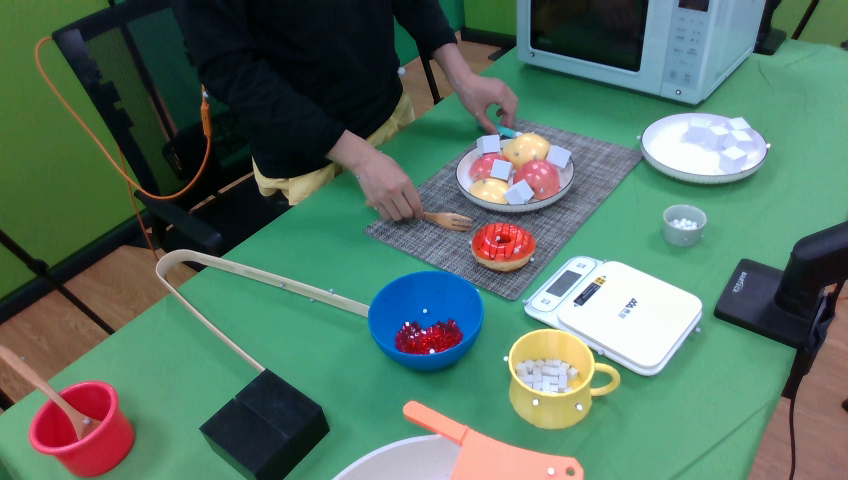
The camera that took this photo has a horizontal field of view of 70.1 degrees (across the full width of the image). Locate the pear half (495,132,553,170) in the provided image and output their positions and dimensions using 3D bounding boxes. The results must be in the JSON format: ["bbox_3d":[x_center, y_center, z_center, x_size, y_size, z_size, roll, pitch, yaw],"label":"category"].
[{"bbox_3d":[0.174,-0.168,1.094,0.109,0.056,0.076,15,53,30],"label":"pear half"}]

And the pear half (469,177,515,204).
[{"bbox_3d":[0.115,-0.090,1.036,0.087,0.031,0.071,29,39,32],"label":"pear half"}]

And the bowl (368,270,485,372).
[{"bbox_3d":[0.007,0.119,0.791,0.151,0.077,0.150,-5,40,4],"label":"bowl"}]

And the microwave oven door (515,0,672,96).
[{"bbox_3d":[0.343,-0.454,1.259,0.353,0.245,0.039,26,51,33],"label":"microwave oven door"}]

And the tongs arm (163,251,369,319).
[{"bbox_3d":[-0.247,0.073,0.917,0.382,0.026,0.051,16,49,26],"label":"tongs arm"}]

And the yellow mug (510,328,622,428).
[{"bbox_3d":[0.168,0.164,0.722,0.130,0.064,0.099,0,40,8],"label":"yellow mug"}]

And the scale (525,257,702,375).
[{"bbox_3d":[0.254,0.091,0.821,0.199,0.032,0.149,28,51,35],"label":"scale"}]

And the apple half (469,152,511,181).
[{"bbox_3d":[0.119,-0.138,1.088,0.081,0.033,0.081,-1,45,2],"label":"apple half"}]

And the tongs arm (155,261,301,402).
[{"bbox_3d":[-0.294,0.122,0.869,0.384,0.028,0.028,28,58,36],"label":"tongs arm"}]

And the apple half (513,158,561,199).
[{"bbox_3d":[0.193,-0.111,1.031,0.080,0.053,0.075,11,41,26],"label":"apple half"}]

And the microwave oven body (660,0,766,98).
[{"bbox_3d":[0.472,-0.513,1.317,0.438,0.261,0.327,26,51,34],"label":"microwave oven body"}]

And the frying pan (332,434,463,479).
[{"bbox_3d":[-0.089,0.306,0.564,0.487,0.103,0.306,10,41,7],"label":"frying pan"}]

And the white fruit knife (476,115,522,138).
[{"bbox_3d":[0.178,-0.209,1.191,0.027,0.016,0.205,-34,47,-31],"label":"white fruit knife"}]

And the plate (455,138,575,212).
[{"bbox_3d":[0.159,-0.111,1.063,0.209,0.038,0.208,-4,40,4],"label":"plate"}]

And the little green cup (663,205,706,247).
[{"bbox_3d":[0.396,-0.020,0.926,0.061,0.039,0.061,-4,40,4],"label":"little green cup"}]

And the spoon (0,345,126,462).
[{"bbox_3d":[-0.434,0.192,0.720,0.194,0.021,0.042,47,53,-7],"label":"spoon"}]

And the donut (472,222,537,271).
[{"bbox_3d":[0.123,0.008,0.923,0.099,0.048,0.098,-3,38,3],"label":"donut"}]

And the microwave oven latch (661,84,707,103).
[{"bbox_3d":[0.517,-0.296,1.204,0.078,0.029,0.030,27,52,35],"label":"microwave oven latch"}]

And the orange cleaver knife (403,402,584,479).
[{"bbox_3d":[0.062,0.222,0.609,0.210,0.012,0.077,15,48,25],"label":"orange cleaver knife"}]

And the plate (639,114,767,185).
[{"bbox_3d":[0.489,-0.157,1.074,0.207,0.039,0.206,-4,40,4],"label":"plate"}]

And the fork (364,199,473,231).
[{"bbox_3d":[-0.014,-0.046,1.027,0.206,0.028,0.019,14,20,26],"label":"fork"}]
